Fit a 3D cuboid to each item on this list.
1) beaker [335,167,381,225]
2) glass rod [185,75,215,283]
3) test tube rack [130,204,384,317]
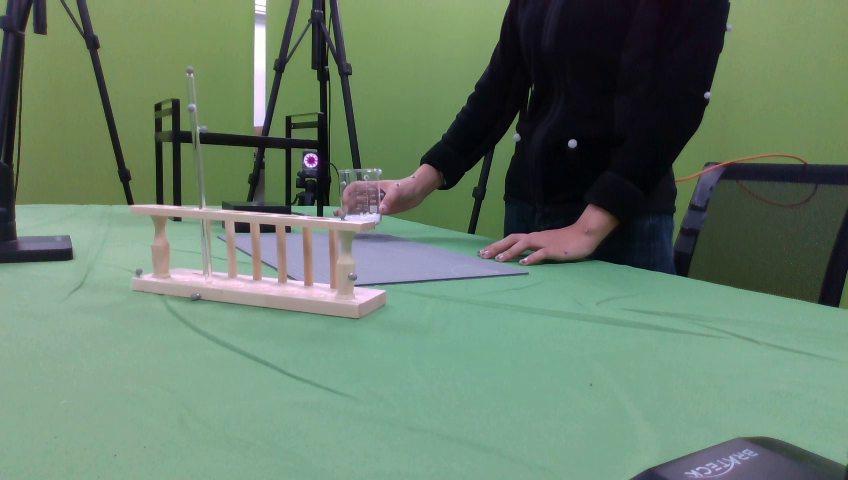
[{"bbox_3d":[-0.110,-0.076,1.059,0.083,0.100,0.074,0,8,24],"label":"beaker"},{"bbox_3d":[-0.210,-0.052,0.568,0.008,0.199,0.008,-1,15,1],"label":"glass rod"},{"bbox_3d":[-0.162,0.013,0.589,0.242,0.085,0.067,4,8,17],"label":"test tube rack"}]
